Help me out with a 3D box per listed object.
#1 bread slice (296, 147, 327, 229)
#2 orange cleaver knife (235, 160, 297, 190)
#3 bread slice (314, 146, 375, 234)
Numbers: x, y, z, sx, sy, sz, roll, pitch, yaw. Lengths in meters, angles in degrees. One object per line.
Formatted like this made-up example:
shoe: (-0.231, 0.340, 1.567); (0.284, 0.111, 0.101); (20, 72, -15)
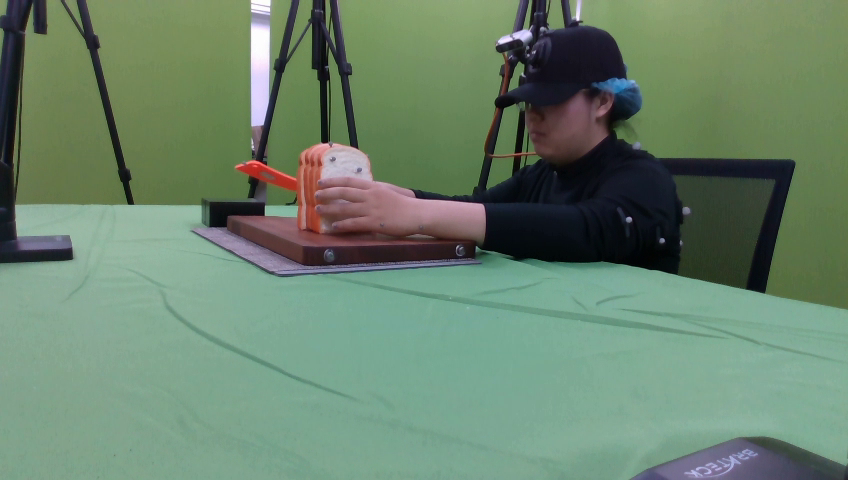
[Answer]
bread slice: (-0.156, -0.082, 0.958); (0.019, 0.131, 0.105); (-3, -2, 45)
orange cleaver knife: (-0.270, -0.117, 1.215); (0.212, 0.012, 0.077); (19, -22, -32)
bread slice: (-0.124, -0.076, 0.919); (0.107, 0.134, 0.018); (-8, 8, -44)
